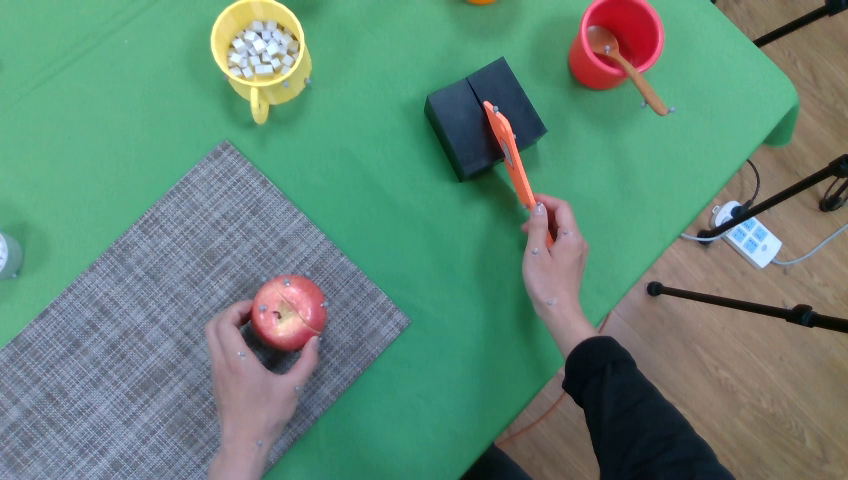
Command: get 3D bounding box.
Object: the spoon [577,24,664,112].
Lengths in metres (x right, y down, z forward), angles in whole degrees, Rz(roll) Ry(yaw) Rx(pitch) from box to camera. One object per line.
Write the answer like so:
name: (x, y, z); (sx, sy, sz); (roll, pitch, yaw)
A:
spoon: (0.220, -0.197, 0.680); (0.042, 0.191, 0.022); (-8, 131, -6)

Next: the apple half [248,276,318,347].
apple half: (-0.159, 0.084, 0.656); (0.053, 0.074, 0.081); (-41, 93, -3)

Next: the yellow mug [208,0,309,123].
yellow mug: (-0.185, -0.198, 0.683); (0.100, 0.064, 0.130); (3, 86, -5)

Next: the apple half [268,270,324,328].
apple half: (-0.130, 0.057, 0.660); (0.033, 0.081, 0.081); (-42, 89, -3)

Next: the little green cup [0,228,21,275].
little green cup: (-0.474, 0.012, 0.655); (0.061, 0.038, 0.061); (0, 85, -5)

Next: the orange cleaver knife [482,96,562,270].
orange cleaver knife: (0.111, -0.062, 0.687); (0.012, 0.076, 0.213); (-25, 112, 1)
